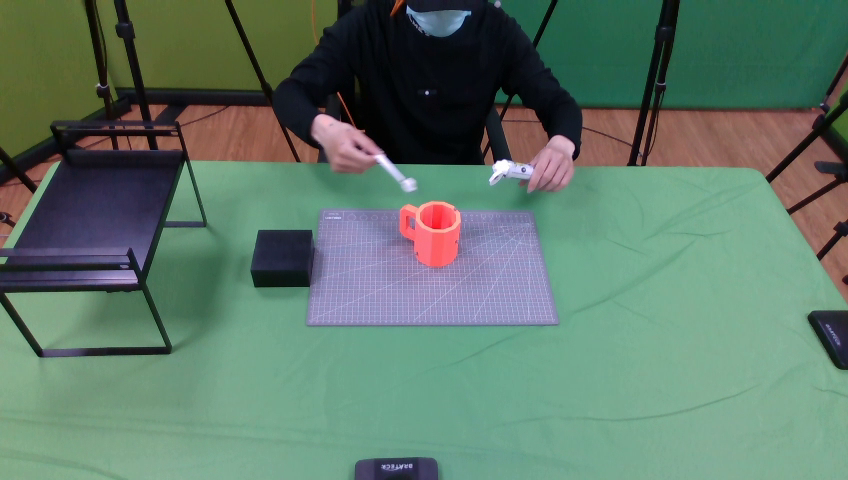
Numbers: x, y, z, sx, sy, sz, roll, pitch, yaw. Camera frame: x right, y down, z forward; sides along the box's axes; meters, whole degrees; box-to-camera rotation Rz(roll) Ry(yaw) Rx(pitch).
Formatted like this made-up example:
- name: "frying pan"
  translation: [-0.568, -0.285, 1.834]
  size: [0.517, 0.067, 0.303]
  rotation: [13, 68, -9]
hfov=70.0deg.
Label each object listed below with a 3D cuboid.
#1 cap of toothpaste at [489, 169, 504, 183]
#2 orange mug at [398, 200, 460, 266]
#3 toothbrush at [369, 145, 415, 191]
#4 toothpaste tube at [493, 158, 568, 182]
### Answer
- name: "cap of toothpaste"
  translation: [0.137, -0.123, 1.154]
  size: [0.037, 0.037, 0.011]
  rotation: [-32, 75, -30]
- name: "orange mug"
  translation: [0.007, -0.020, 1.161]
  size: [0.126, 0.101, 0.083]
  rotation: [27, 50, 15]
- name: "toothbrush"
  translation: [-0.062, -0.138, 1.113]
  size: [0.014, 0.017, 0.180]
  rotation: [-19, 40, -22]
- name: "toothpaste tube"
  translation: [0.209, -0.137, 1.205]
  size: [0.166, 0.034, 0.054]
  rotation: [4, 31, -27]
